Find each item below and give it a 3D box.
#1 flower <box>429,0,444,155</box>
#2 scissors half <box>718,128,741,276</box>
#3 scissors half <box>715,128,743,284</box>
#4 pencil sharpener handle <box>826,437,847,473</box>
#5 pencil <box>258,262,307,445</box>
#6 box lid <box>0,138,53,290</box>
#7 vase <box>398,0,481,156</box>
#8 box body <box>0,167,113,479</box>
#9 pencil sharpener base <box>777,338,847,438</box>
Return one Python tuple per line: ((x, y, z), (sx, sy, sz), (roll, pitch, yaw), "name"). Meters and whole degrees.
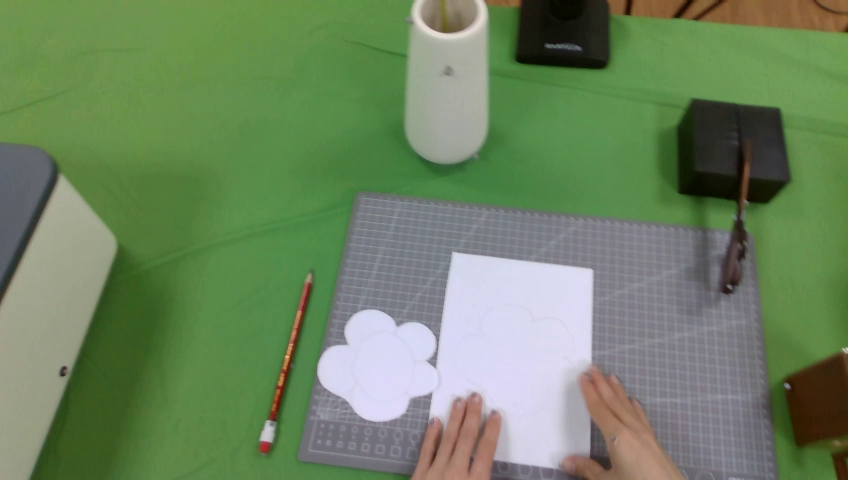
((0.009, -0.226, 0.578), (0.044, 0.365, 0.038), (-1, 47, 4), "flower")
((0.323, -0.044, 0.628), (0.013, 0.040, 0.174), (10, 66, 15), "scissors half")
((0.328, -0.038, 0.647), (0.012, 0.040, 0.175), (9, 83, 20), "scissors half")
((0.375, 0.180, 0.515), (0.036, 0.068, 0.030), (8, 65, -11), "pencil sharpener handle")
((-0.142, 0.110, 0.620), (0.012, 0.012, 0.192), (7, 64, 4), "pencil")
((-0.478, 0.063, 0.476), (0.263, 0.015, 0.368), (6, 65, 3), "box lid")
((0.016, -0.178, 0.647), (0.098, 0.201, 0.097), (-1, 64, 2), "vase")
((-0.477, 0.097, 0.543), (0.254, 0.161, 0.361), (6, 65, 3), "box body")
((0.381, 0.140, 0.547), (0.061, 0.108, 0.076), (2, 65, 1), "pencil sharpener base")
